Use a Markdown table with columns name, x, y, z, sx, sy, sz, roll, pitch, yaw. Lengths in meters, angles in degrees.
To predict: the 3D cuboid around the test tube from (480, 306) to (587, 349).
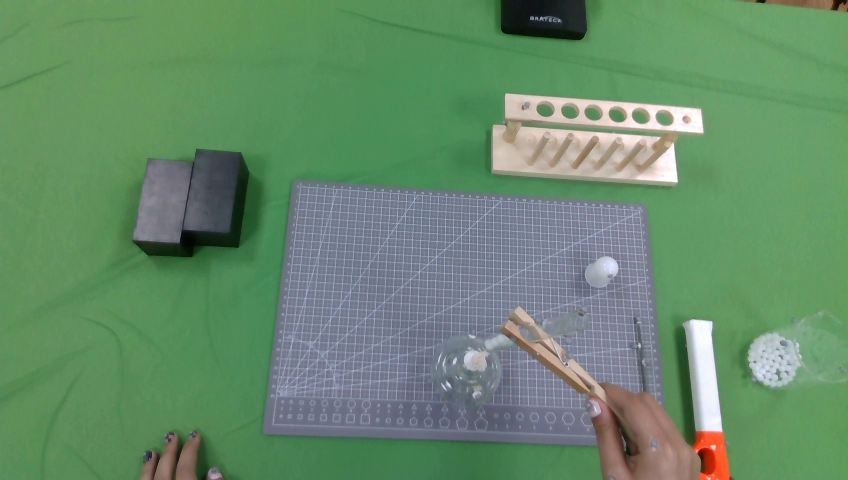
| name | x | y | z | sx | sy | sz | roll | pitch | yaw |
| --- | --- | --- | --- | --- | --- | --- | --- | --- | --- |
| test tube | 0.083 | 0.074 | 0.497 | 0.017 | 0.150 | 0.017 | 6 | 72 | -20 |

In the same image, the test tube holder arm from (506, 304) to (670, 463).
| name | x | y | z | sx | sy | sz | roll | pitch | yaw |
| --- | --- | --- | --- | --- | --- | --- | --- | --- | --- |
| test tube holder arm | 0.136 | 0.119 | 0.500 | 0.178 | 0.015 | 0.013 | 43 | 68 | 0 |

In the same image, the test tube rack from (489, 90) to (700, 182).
| name | x | y | z | sx | sy | sz | roll | pitch | yaw |
| --- | --- | --- | --- | --- | --- | --- | --- | --- | --- |
| test tube rack | 0.209 | -0.127 | 0.759 | 0.243 | 0.085 | 0.066 | 3 | 71 | -5 |

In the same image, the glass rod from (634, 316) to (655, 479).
| name | x | y | z | sx | sy | sz | roll | pitch | yaw |
| --- | --- | --- | --- | --- | --- | --- | --- | --- | --- |
| glass rod | 0.253 | 0.186 | 0.697 | 0.008 | 0.008 | 0.198 | 3 | 71 | -5 |

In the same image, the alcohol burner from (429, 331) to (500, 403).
| name | x | y | z | sx | sy | sz | roll | pitch | yaw |
| --- | --- | --- | --- | --- | --- | --- | --- | --- | --- |
| alcohol burner | 0.045 | 0.131 | 0.638 | 0.078 | 0.120 | 0.077 | 2 | 69 | -5 |

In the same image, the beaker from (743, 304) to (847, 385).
| name | x | y | z | sx | sy | sz | roll | pitch | yaw |
| --- | --- | --- | --- | --- | --- | --- | --- | --- | --- |
| beaker | 0.422 | 0.123 | 0.691 | 0.074 | 0.101 | 0.083 | 16 | 70 | 0 |

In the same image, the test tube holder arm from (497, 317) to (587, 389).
| name | x | y | z | sx | sy | sz | roll | pitch | yaw |
| --- | --- | --- | --- | --- | --- | --- | --- | --- | --- |
| test tube holder arm | 0.098 | 0.093 | 0.497 | 0.088 | 0.015 | 0.010 | 36 | 68 | -3 |

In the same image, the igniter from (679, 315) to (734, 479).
| name | x | y | z | sx | sy | sz | roll | pitch | yaw |
| --- | --- | --- | --- | --- | --- | --- | --- | --- | --- |
| igniter | 0.319 | 0.222 | 0.685 | 0.057 | 0.025 | 0.275 | 7 | 71 | -14 |

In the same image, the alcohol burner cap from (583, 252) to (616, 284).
| name | x | y | z | sx | sy | sz | roll | pitch | yaw |
| --- | --- | --- | --- | --- | --- | --- | --- | --- | --- |
| alcohol burner cap | 0.213 | 0.031 | 0.727 | 0.034 | 0.048 | 0.033 | 2 | 71 | -5 |
